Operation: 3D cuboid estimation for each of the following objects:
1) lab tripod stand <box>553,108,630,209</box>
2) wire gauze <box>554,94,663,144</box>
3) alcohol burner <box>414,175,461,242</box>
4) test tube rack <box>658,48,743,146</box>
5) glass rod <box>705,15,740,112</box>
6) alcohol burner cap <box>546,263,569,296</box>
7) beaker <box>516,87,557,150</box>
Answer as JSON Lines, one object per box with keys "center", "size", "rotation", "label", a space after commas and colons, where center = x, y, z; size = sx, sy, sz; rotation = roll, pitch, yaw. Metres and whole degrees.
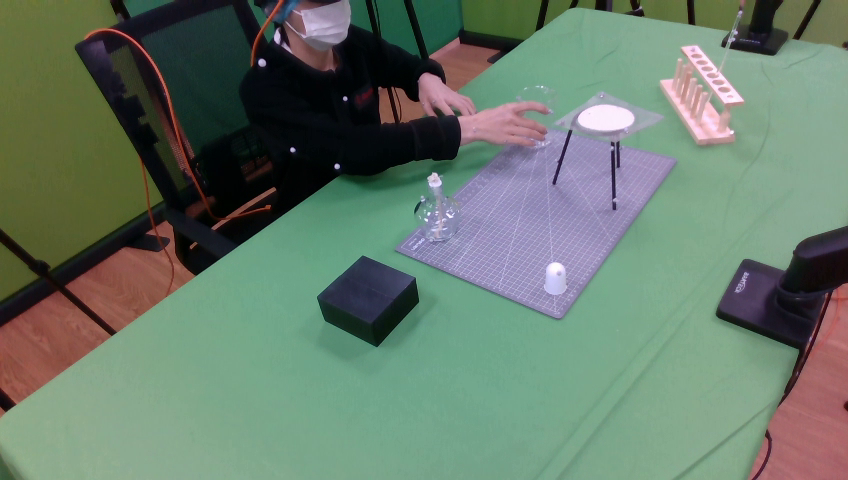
{"center": [0.292, -0.144, 1.010], "size": [0.148, 0.132, 0.147], "rotation": [-5, 38, 4], "label": "lab tripod stand"}
{"center": [0.293, -0.193, 0.963], "size": [0.125, 0.011, 0.120], "rotation": [-31, 45, -27], "label": "wire gauze"}
{"center": [0.020, -0.055, 0.963], "size": [0.078, 0.119, 0.077], "rotation": [-3, 41, 4], "label": "alcohol burner"}
{"center": [0.532, -0.284, 1.180], "size": [0.067, 0.085, 0.241], "rotation": [-5, 40, 4], "label": "test tube rack"}
{"center": [0.549, -0.319, 1.117], "size": [0.008, 0.200, 0.008], "rotation": [-2, 47, 3], "label": "glass rod"}
{"center": [0.191, 0.053, 0.862], "size": [0.034, 0.048, 0.033], "rotation": [-5, 40, 4], "label": "alcohol burner cap"}
{"center": [0.215, -0.231, 1.151], "size": [0.073, 0.100, 0.084], "rotation": [22, 46, 30], "label": "beaker"}
